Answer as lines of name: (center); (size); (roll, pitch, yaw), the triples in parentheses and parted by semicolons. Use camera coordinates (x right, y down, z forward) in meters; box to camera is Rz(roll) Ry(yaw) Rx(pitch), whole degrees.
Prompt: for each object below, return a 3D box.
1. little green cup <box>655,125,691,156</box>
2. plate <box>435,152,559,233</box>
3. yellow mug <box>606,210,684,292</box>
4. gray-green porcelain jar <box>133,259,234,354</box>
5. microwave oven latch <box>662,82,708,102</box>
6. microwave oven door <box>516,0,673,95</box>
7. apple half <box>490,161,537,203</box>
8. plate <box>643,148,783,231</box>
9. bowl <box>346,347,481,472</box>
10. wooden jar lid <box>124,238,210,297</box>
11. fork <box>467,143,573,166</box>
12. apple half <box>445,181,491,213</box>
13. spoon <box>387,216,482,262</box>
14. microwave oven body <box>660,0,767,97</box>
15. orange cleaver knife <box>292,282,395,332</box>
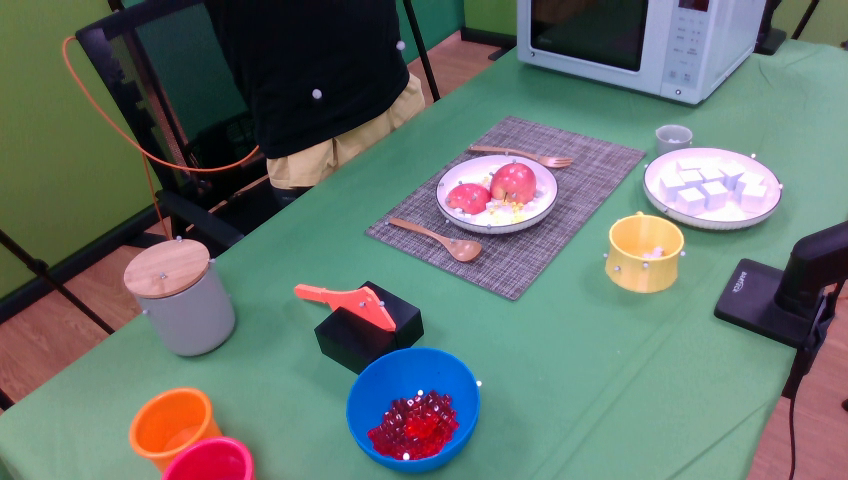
little green cup: (0.450, -0.178, 1.099); (0.061, 0.039, 0.061); (-5, 39, 5)
plate: (0.123, -0.078, 1.026); (0.209, 0.038, 0.208); (-4, 40, 4)
yellow mug: (0.318, 0.007, 0.883); (0.100, 0.064, 0.130); (0, 41, 8)
gray-green porcelain jar: (-0.328, 0.087, 0.836); (0.106, 0.127, 0.105); (-4, 41, 4)
microwave oven latch: (0.518, -0.298, 1.203); (0.078, 0.029, 0.030); (28, 53, 35)
microwave oven door: (0.344, -0.458, 1.257); (0.353, 0.245, 0.039); (26, 51, 33)
apple half: (0.154, -0.106, 1.030); (0.080, 0.053, 0.075); (22, 46, 31)
plate: (0.464, -0.080, 0.986); (0.207, 0.039, 0.206); (-4, 41, 4)
bowl: (-0.008, 0.205, 0.691); (0.151, 0.077, 0.150); (-4, 40, 4)
wooden jar lid: (-0.335, 0.039, 0.794); (0.108, 0.021, 0.108); (-2, 40, 2)
fork: (0.176, -0.163, 1.131); (0.206, 0.019, 0.028); (14, 59, 21)
apple half: (0.077, -0.083, 1.029); (0.081, 0.033, 0.081); (-2, 41, 2)
spoon: (0.012, -0.009, 0.973); (0.192, 0.022, 0.041); (25, 71, 31)
microwave oven body: (0.474, -0.517, 1.314); (0.438, 0.261, 0.327); (26, 51, 34)
orange cleaver knife: (-0.116, 0.091, 0.835); (0.209, 0.077, 0.012); (2, 32, 48)
